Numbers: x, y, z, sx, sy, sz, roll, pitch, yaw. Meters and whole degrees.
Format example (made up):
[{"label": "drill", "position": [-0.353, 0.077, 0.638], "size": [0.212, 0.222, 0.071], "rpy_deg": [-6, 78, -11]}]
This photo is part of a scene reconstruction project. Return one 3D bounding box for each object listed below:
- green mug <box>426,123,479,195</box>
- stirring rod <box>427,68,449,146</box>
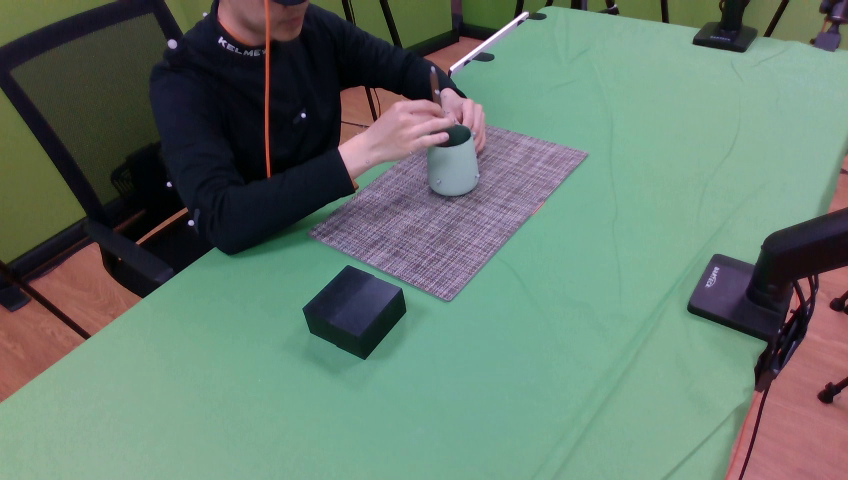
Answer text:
[{"label": "green mug", "position": [0.053, -0.151, 1.067], "size": [0.092, 0.105, 0.125], "rpy_deg": [5, 42, 14]}, {"label": "stirring rod", "position": [0.027, -0.199, 0.999], "size": [0.005, 0.177, 0.014], "rpy_deg": [18, 44, 38]}]
